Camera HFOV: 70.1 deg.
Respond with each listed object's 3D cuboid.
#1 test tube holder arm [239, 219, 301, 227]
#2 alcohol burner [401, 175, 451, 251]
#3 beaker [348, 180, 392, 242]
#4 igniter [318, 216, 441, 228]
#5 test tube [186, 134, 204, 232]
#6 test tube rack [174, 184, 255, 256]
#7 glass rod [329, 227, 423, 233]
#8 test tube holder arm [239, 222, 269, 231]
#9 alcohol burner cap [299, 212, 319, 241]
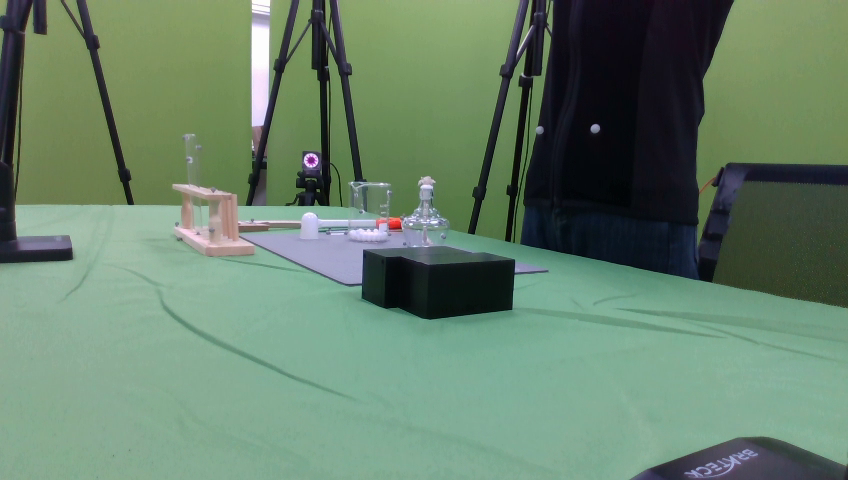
[{"bbox_3d":[-0.296,-0.030,1.137,0.179,0.015,0.013,-6,45,-50],"label":"test tube holder arm"},{"bbox_3d":[0.004,-0.042,0.947,0.078,0.119,0.078,1,9,0],"label":"alcohol burner"},{"bbox_3d":[-0.095,-0.049,1.027,0.074,0.100,0.084,5,9,25],"label":"beaker"},{"bbox_3d":[-0.090,-0.035,1.223,0.278,0.025,0.057,-2,-1,-31],"label":"igniter"},{"bbox_3d":[-0.350,-0.086,0.925,0.017,0.150,0.017,-2,7,1],"label":"test tube"},{"bbox_3d":[-0.327,-0.036,0.928,0.067,0.085,0.241,-2,9,-32],"label":"test tube rack"},{"bbox_3d":[-0.086,-0.019,1.148,0.201,0.008,0.008,-3,8,-32],"label":"glass rod"},{"bbox_3d":[-0.322,-0.024,1.100,0.088,0.015,0.010,-5,44,-49],"label":"test tube holder arm"},{"bbox_3d":[-0.195,-0.024,1.025,0.034,0.048,0.034,3,7,0],"label":"alcohol burner cap"}]
